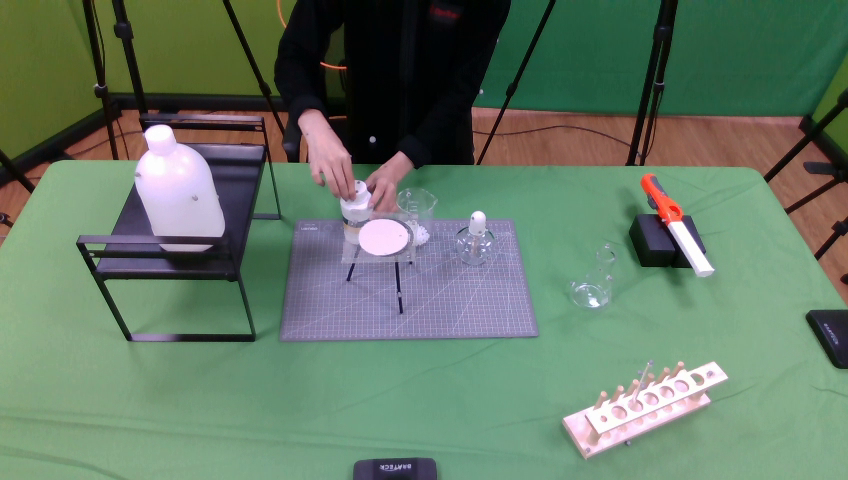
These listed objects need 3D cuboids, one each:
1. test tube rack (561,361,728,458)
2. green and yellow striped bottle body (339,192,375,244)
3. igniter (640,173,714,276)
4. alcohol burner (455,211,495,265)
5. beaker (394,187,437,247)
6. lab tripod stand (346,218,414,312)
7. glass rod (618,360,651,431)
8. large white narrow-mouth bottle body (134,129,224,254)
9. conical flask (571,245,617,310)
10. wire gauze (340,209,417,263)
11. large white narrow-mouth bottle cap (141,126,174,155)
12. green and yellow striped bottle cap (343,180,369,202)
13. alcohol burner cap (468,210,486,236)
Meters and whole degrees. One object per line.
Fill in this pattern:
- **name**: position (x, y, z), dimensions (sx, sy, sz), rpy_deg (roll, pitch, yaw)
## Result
- **test tube rack**: position (0.341, 0.248, 0.940), dimensions (0.243, 0.085, 0.066), rpy_deg (-15, 48, -18)
- **green and yellow striped bottle body**: position (-0.129, -0.053, 1.165), dimensions (0.063, 0.120, 0.063), rpy_deg (0, 46, 0)
- **igniter**: position (0.495, -0.039, 1.204), dimensions (0.057, 0.025, 0.274), rpy_deg (-2, 47, -12)
- **alcohol burner**: position (0.097, -0.010, 1.147), dimensions (0.078, 0.120, 0.077), rpy_deg (1, 47, 0)
- **beaker**: position (-0.018, -0.042, 1.179), dimensions (0.084, 0.101, 0.073), rpy_deg (-8, 48, -13)
- **lab tripod stand**: position (-0.070, 0.037, 1.075), dimensions (0.148, 0.132, 0.147), rpy_deg (1, 47, -1)
- **glass rod**: position (0.298, 0.227, 0.865), dimensions (0.008, 0.201, 0.008), rpy_deg (-1, 48, 2)
- **large white narrow-mouth bottle body**: position (-0.358, -0.075, 0.875), dimensions (0.102, 0.195, 0.101), rpy_deg (1, 48, -1)
- **conical flask**: position (0.313, 0.064, 1.089), dimensions (0.075, 0.122, 0.075), rpy_deg (2, 46, -2)
- **wire gauze**: position (-0.074, -0.007, 1.023), dimensions (0.121, 0.011, 0.124), rpy_deg (3, 46, 0)
- **large white narrow-mouth bottle cap**: position (-0.356, -0.133, 0.811), dimensions (0.038, 0.024, 0.037), rpy_deg (2, 48, -1)
- **green and yellow striped bottle cap**: position (-0.127, -0.092, 1.124), dimensions (0.045, 0.020, 0.045), rpy_deg (-13, 42, 12)
- **alcohol burner cap**: position (0.099, -0.034, 1.119), dimensions (0.034, 0.048, 0.033), rpy_deg (0, 53, 0)
